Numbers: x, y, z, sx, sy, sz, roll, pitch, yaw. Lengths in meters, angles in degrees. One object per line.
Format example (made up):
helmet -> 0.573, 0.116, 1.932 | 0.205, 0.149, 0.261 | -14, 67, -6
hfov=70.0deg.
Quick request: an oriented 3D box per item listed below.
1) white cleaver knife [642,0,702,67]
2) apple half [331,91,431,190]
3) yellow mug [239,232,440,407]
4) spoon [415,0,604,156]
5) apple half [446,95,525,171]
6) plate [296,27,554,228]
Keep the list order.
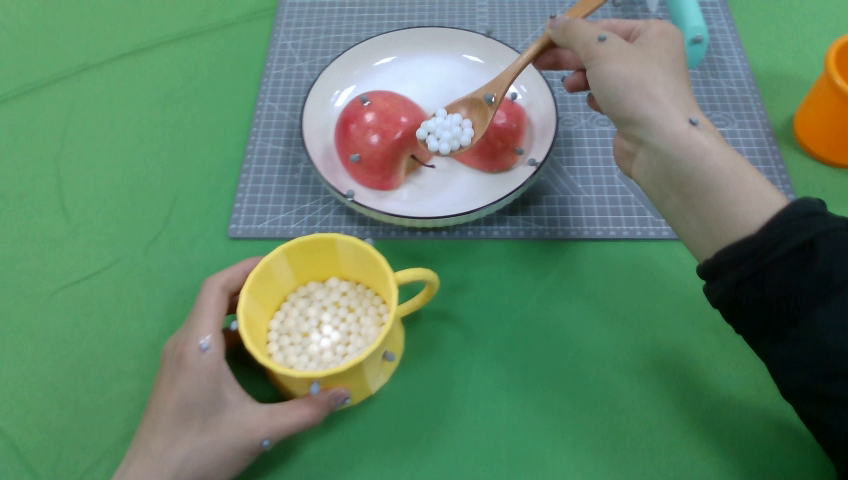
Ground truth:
white cleaver knife -> 0.221, -0.261, 0.582 | 0.021, 0.066, 0.283 | -2, 55, 6
apple half -> -0.035, -0.087, 0.481 | 0.081, 0.054, 0.074 | -39, 63, -20
yellow mug -> -0.050, 0.048, 0.406 | 0.131, 0.064, 0.099 | -19, 61, -12
spoon -> 0.071, -0.124, 0.410 | 0.194, 0.022, 0.041 | -42, 60, 5
apple half -> 0.046, -0.097, 0.496 | 0.081, 0.033, 0.080 | 0, 61, 1
plate -> 0.001, -0.094, 0.503 | 0.209, 0.038, 0.207 | 0, 59, 1
